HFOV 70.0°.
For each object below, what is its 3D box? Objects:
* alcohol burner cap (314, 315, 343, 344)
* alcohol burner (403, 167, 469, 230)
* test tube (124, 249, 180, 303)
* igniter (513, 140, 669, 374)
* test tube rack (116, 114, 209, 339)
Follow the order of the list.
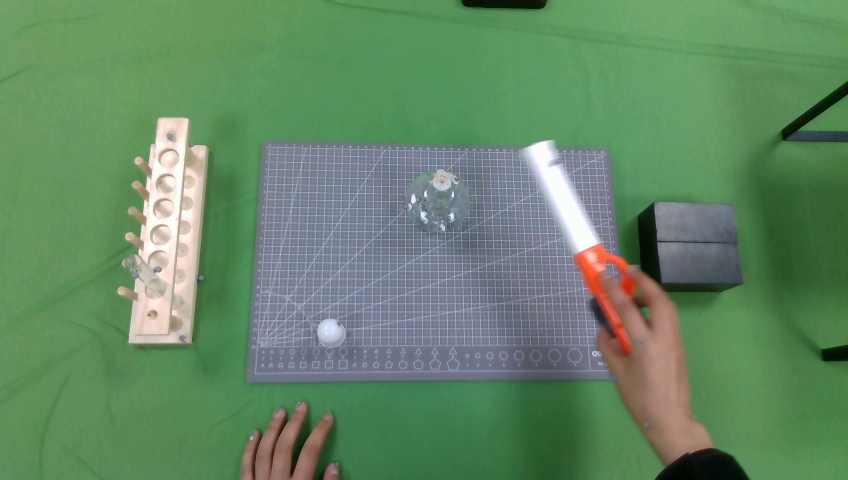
[{"bbox_3d":[-0.110,0.100,0.689,0.034,0.048,0.033,2,75,-5],"label":"alcohol burner cap"},{"bbox_3d":[0.015,-0.054,0.704,0.078,0.119,0.077,1,75,-2],"label":"alcohol burner"},{"bbox_3d":[-0.275,0.040,0.620,0.017,0.151,0.017,3,70,-7],"label":"test tube"},{"bbox_3d":[0.174,0.018,0.638,0.057,0.025,0.275,-25,81,-13],"label":"igniter"},{"bbox_3d":[-0.298,-0.014,0.684,0.067,0.085,0.241,1,75,-4],"label":"test tube rack"}]
